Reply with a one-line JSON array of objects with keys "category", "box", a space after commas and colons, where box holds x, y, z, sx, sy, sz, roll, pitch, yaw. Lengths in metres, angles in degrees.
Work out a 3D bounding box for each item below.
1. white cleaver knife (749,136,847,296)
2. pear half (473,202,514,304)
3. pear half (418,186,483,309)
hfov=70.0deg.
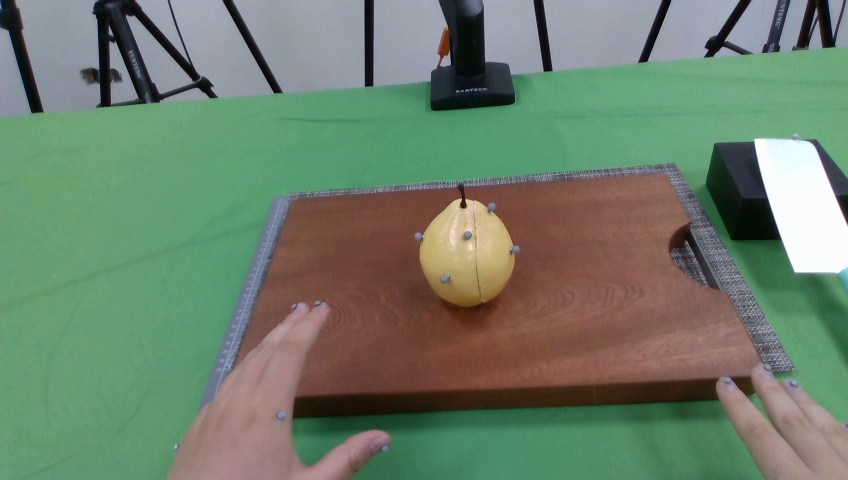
[{"category": "white cleaver knife", "box": [0.337, 0.010, 0.512, 0.066, 0.022, 0.283, -4, 49, 11]}, {"category": "pear half", "box": [0.057, 0.009, 0.495, 0.031, 0.089, 0.070, -4, 31, 4]}, {"category": "pear half", "box": [0.021, 0.003, 0.493, 0.056, 0.111, 0.075, -4, 35, 5]}]
